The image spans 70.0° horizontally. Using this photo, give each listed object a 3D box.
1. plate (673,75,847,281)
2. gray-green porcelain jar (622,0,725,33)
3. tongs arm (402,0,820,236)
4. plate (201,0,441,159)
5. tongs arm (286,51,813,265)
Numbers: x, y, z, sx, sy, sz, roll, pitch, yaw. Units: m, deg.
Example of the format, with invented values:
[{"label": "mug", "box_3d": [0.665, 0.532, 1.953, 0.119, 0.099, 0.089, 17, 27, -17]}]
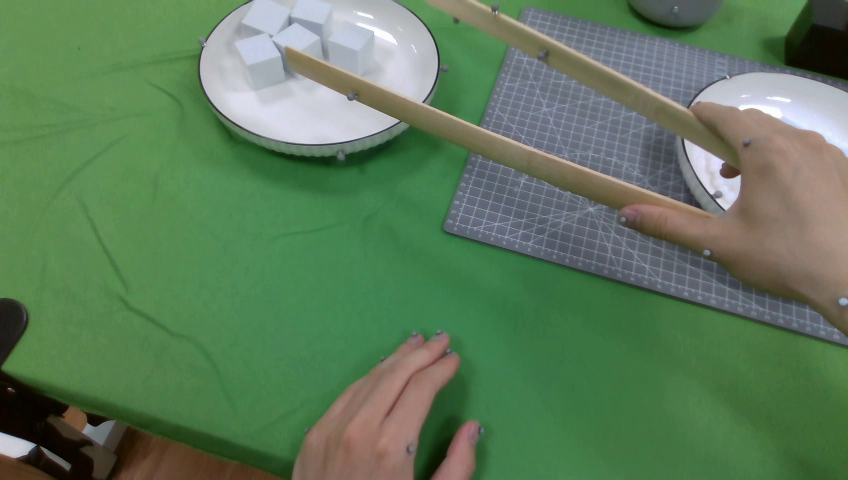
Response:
[{"label": "plate", "box_3d": [0.308, -0.053, 0.504, 0.209, 0.038, 0.207, 2, 57, -2]}, {"label": "gray-green porcelain jar", "box_3d": [0.262, -0.282, 0.603, 0.106, 0.127, 0.105, 2, 56, -2]}, {"label": "tongs arm", "box_3d": [0.099, -0.113, 0.446, 0.382, 0.027, 0.050, 34, 66, 23]}, {"label": "plate", "box_3d": [-0.089, -0.148, 0.545, 0.208, 0.039, 0.205, 2, 57, -2]}, {"label": "tongs arm", "box_3d": [0.057, -0.066, 0.422, 0.385, 0.028, 0.028, 25, 59, 19]}]
